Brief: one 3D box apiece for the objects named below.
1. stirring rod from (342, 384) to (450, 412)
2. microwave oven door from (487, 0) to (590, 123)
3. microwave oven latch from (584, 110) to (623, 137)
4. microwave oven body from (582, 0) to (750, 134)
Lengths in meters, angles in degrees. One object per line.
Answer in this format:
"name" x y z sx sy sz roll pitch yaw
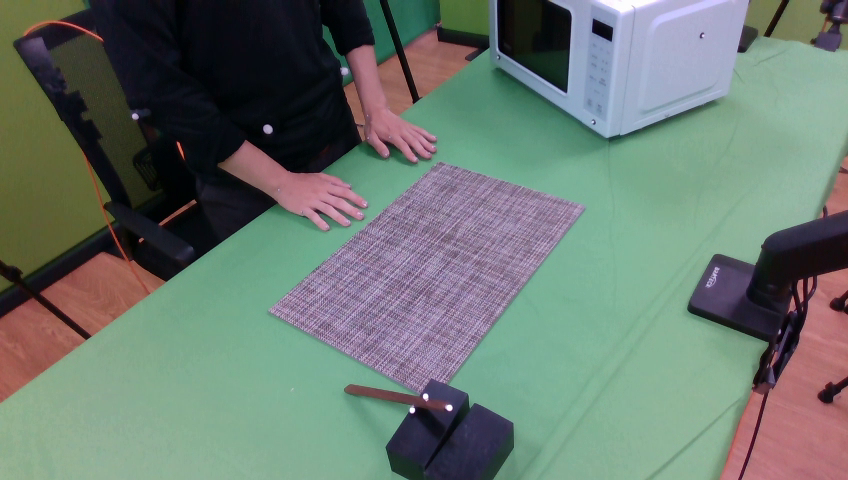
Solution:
"stirring rod" -0.038 0.186 0.714 0.175 0.006 0.014 -4 22 43
"microwave oven door" 0.232 -0.420 1.231 0.039 0.245 0.352 -22 43 -16
"microwave oven latch" 0.337 -0.222 1.142 0.030 0.029 0.078 -21 42 -14
"microwave oven body" 0.382 -0.444 1.246 0.327 0.261 0.437 -22 42 -16
